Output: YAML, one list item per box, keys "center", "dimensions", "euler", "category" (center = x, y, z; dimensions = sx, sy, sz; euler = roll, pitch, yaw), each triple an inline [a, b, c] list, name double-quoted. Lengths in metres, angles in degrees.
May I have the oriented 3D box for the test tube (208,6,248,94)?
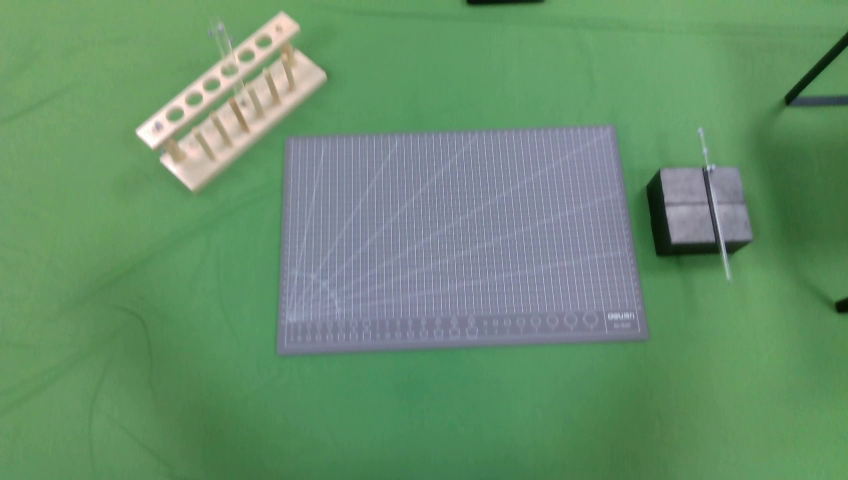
- center: [-0.240, -0.230, 0.750]
  dimensions: [0.017, 0.151, 0.017]
  euler: [2, 67, -3]
  category: "test tube"

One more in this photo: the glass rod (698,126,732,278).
- center: [0.353, -0.050, 0.737]
  dimensions: [0.008, 0.008, 0.198]
  euler: [-2, 72, -1]
  category: "glass rod"

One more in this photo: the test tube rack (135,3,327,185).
- center: [-0.242, -0.189, 0.788]
  dimensions: [0.066, 0.085, 0.242]
  euler: [41, 76, 13]
  category: "test tube rack"
